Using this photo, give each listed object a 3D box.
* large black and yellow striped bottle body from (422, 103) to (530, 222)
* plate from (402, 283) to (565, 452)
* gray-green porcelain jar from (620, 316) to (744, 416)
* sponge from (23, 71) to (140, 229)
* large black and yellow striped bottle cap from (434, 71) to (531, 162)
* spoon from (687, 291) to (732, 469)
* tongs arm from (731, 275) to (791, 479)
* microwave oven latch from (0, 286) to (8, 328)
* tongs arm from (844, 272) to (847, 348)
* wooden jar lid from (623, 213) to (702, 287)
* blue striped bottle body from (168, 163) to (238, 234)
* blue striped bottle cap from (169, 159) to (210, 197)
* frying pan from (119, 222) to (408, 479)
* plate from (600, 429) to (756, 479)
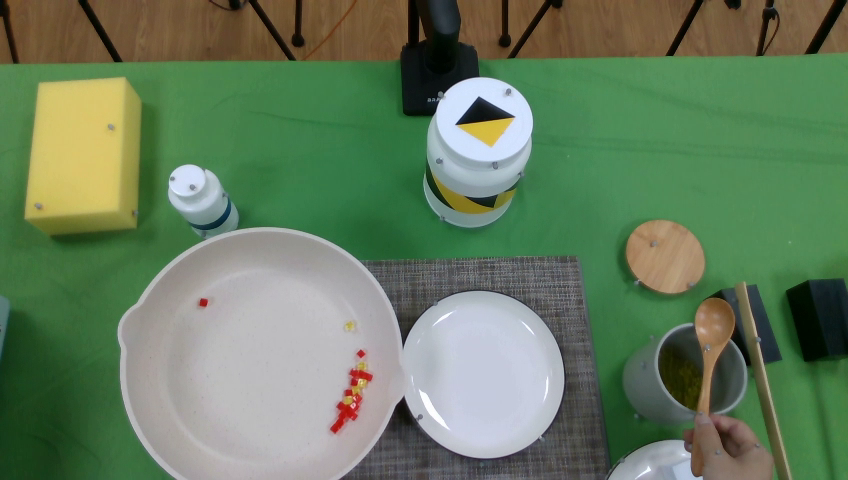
[{"bbox_3d":[0.064,-0.115,0.788,0.131,0.185,0.130,1,69,-2],"label":"large black and yellow striped bottle body"},{"bbox_3d":[0.070,0.158,0.763,0.209,0.038,0.207,1,70,-2],"label":"plate"},{"bbox_3d":[0.303,0.156,0.733,0.106,0.127,0.105,1,70,-2],"label":"gray-green porcelain jar"},{"bbox_3d":[-0.461,-0.123,0.826,0.118,0.061,0.205,-6,71,-6],"label":"sponge"},{"bbox_3d":[0.069,-0.146,0.709,0.115,0.019,0.114,1,72,-2],"label":"large black and yellow striped bottle cap"},{"bbox_3d":[0.303,0.148,0.658,0.041,0.022,0.193,8,70,26],"label":"spoon"},{"bbox_3d":[0.438,0.229,0.732,0.051,0.026,0.383,-6,81,-7],"label":"tongs arm"},{"bbox_3d":[-0.532,0.094,0.737,0.030,0.029,0.078,1,71,-3],"label":"microwave oven latch"},{"bbox_3d":[0.522,0.227,0.739,0.028,0.028,0.386,8,80,-8],"label":"tongs arm"},{"bbox_3d":[0.329,0.015,0.842,0.108,0.021,0.107,1,72,-2],"label":"wooden jar lid"},{"bbox_3d":[-0.285,-0.057,0.780,0.063,0.121,0.062,1,70,-2],"label":"blue striped bottle body"},{"bbox_3d":[-0.284,-0.075,0.732,0.044,0.021,0.044,1,72,-3],"label":"blue striped bottle cap"},{"bbox_3d":[-0.184,0.217,0.625,0.308,0.103,0.484,17,60,-15],"label":"frying pan"},{"bbox_3d":[0.301,0.332,0.717,0.208,0.039,0.206,1,70,-2],"label":"plate"}]
